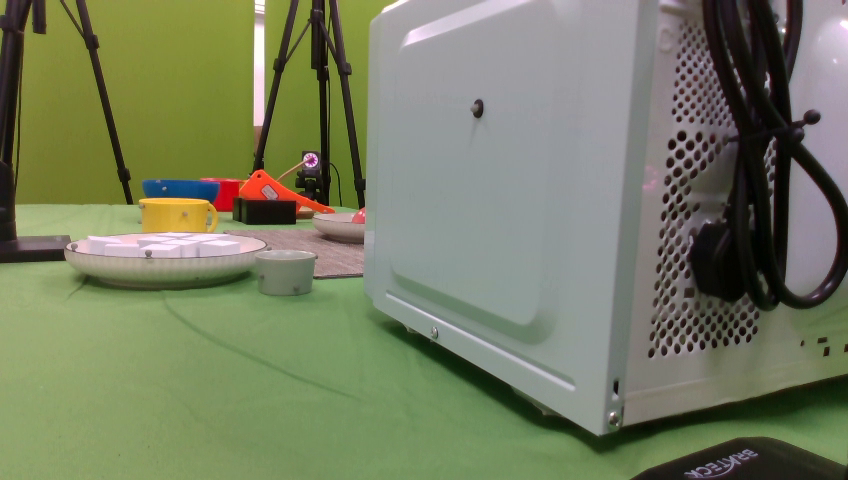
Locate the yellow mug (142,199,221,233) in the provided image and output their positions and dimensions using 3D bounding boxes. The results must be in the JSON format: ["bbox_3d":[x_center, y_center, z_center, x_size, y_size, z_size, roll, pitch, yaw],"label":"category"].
[{"bbox_3d":[-0.373,-0.030,0.948,0.099,0.064,0.131,6,7,30],"label":"yellow mug"}]

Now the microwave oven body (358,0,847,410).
[{"bbox_3d":[0.210,-0.051,0.471,0.444,0.260,0.324,-1,7,-28],"label":"microwave oven body"}]

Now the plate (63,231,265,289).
[{"bbox_3d":[-0.288,0.021,0.687,0.208,0.039,0.207,2,8,0],"label":"plate"}]

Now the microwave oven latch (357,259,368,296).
[{"bbox_3d":[-0.019,0.031,0.528,0.079,0.029,0.030,-1,7,-25],"label":"microwave oven latch"}]

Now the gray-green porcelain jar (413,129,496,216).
[{"bbox_3d":[0.058,-0.114,1.066,0.106,0.126,0.106,-35,8,6],"label":"gray-green porcelain jar"}]

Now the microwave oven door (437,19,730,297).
[{"bbox_3d":[0.181,-0.076,0.618,0.358,0.243,0.039,-2,8,-28],"label":"microwave oven door"}]

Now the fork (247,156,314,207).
[{"bbox_3d":[-0.360,-0.147,1.523,0.207,0.018,0.028,-43,16,-7],"label":"fork"}]

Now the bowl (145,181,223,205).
[{"bbox_3d":[-0.499,-0.081,1.261,0.151,0.077,0.151,2,8,0],"label":"bowl"}]

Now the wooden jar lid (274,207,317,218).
[{"bbox_3d":[-0.303,-0.065,1.409,0.108,0.020,0.108,3,9,0],"label":"wooden jar lid"}]

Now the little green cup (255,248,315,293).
[{"bbox_3d":[-0.144,0.031,0.627,0.061,0.038,0.061,2,6,0],"label":"little green cup"}]

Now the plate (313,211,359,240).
[{"bbox_3d":[-0.091,-0.026,1.063,0.209,0.038,0.209,2,7,0],"label":"plate"}]

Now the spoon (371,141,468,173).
[{"bbox_3d":[-0.011,-0.151,1.071,0.193,0.021,0.042,23,31,22],"label":"spoon"}]

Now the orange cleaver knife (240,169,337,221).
[{"bbox_3d":[-0.287,-0.081,1.298,0.212,0.077,0.012,25,-3,-31],"label":"orange cleaver knife"}]

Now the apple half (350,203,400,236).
[{"bbox_3d":[-0.081,-0.036,1.024,0.081,0.053,0.074,-2,10,-34],"label":"apple half"}]

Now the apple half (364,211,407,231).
[{"bbox_3d":[-0.068,-0.037,1.104,0.081,0.033,0.081,-1,9,0],"label":"apple half"}]
